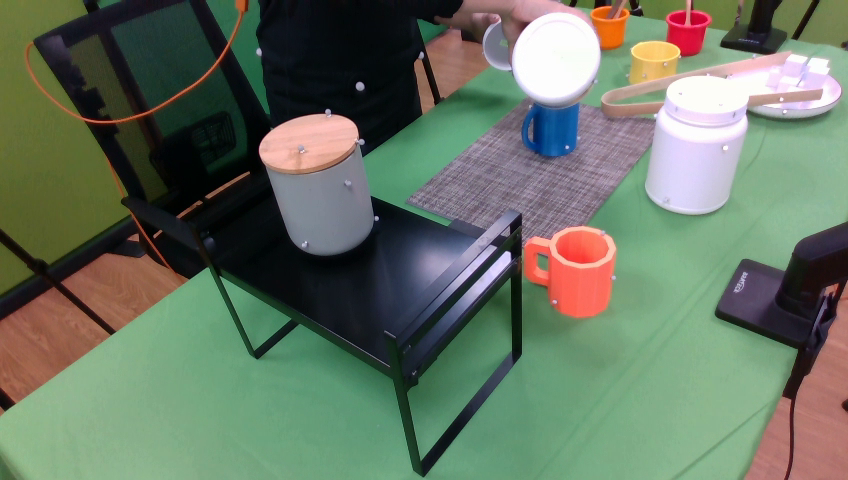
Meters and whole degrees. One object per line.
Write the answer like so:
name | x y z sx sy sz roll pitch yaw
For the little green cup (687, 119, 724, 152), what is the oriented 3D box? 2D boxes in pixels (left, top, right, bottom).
little green cup | 0.514 -0.191 1.109 0.061 0.039 0.061 -4 40 4

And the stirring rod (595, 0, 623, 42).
stirring rod | 0.460 -0.557 1.461 0.014 0.176 0.006 35 11 22

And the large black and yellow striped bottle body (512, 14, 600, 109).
large black and yellow striped bottle body | 0.218 -0.284 0.988 0.130 0.131 0.184 4 9 14

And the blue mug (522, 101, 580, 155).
blue mug | 0.233 -0.218 1.127 0.117 0.106 0.081 -23 43 -16

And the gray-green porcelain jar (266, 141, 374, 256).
gray-green porcelain jar | -0.117 -0.054 0.703 0.106 0.127 0.105 -4 40 4

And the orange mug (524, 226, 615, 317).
orange mug | 0.201 0.039 0.845 0.125 0.101 0.083 18 47 21

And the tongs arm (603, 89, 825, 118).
tongs arm | 0.546 -0.262 1.162 0.386 0.028 0.028 -1 49 18

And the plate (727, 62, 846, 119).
plate | 0.709 -0.292 1.197 0.207 0.039 0.206 -4 40 4

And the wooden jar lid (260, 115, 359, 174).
wooden jar lid | -0.124 -0.101 0.662 0.108 0.021 0.108 -4 41 4

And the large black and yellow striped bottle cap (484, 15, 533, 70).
large black and yellow striped bottle cap | 0.179 -0.402 1.232 0.115 0.115 0.018 -7 47 1

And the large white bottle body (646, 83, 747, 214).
large white bottle body | 0.430 -0.148 0.959 0.130 0.185 0.130 -4 41 4

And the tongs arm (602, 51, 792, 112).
tongs arm | 0.552 -0.320 1.223 0.384 0.027 0.050 -10 43 7

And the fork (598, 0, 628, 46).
fork | 0.479 -0.558 1.455 0.028 0.019 0.207 35 100 38

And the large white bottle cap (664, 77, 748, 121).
large white bottle cap | 0.421 -0.212 0.905 0.115 0.018 0.114 -4 40 4

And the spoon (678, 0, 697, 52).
spoon | 0.614 -0.526 1.402 0.041 0.022 0.193 3 86 11

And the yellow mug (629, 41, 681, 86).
yellow mug | 0.495 -0.389 1.321 0.100 0.064 0.130 -14 40 -6
